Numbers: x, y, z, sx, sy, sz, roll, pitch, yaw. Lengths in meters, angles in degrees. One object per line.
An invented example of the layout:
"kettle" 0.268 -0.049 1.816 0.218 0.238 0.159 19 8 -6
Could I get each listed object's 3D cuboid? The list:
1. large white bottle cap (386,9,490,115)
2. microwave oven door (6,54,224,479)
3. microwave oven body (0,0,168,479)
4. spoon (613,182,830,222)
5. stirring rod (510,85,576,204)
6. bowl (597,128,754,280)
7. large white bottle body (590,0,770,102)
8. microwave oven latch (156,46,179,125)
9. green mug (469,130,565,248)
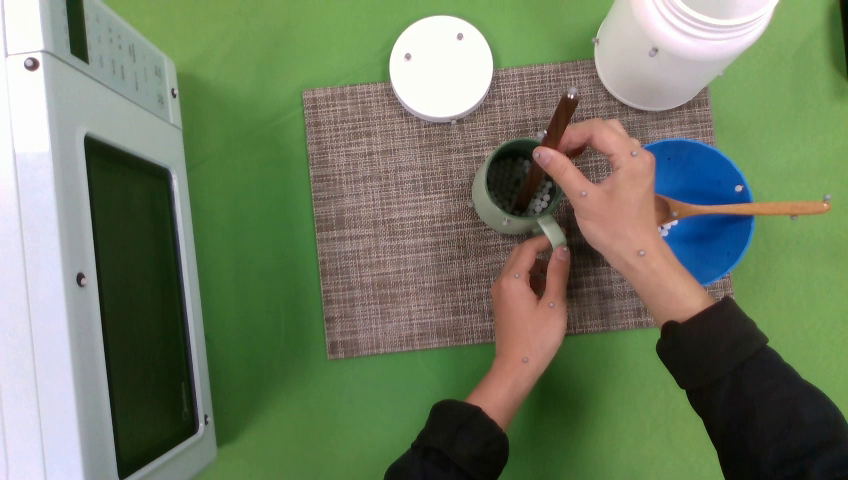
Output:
"large white bottle cap" 0.015 -0.196 0.668 0.115 0.018 0.114 0 87 1
"microwave oven door" -0.259 0.049 0.539 0.039 0.244 0.355 -8 88 1
"microwave oven body" -0.409 0.028 0.546 0.326 0.260 0.441 -8 88 0
"spoon" 0.289 -0.040 0.601 0.193 0.022 0.041 0 92 24
"stirring rod" 0.099 -0.074 0.522 0.014 0.177 0.006 15 65 2
"bowl" 0.247 -0.033 0.629 0.151 0.077 0.151 0 88 2
"large white bottle body" 0.244 -0.224 0.583 0.130 0.185 0.130 0 84 1
"microwave oven latch" -0.284 -0.163 0.647 0.030 0.029 0.079 -8 89 0
"green mug" 0.103 -0.048 0.619 0.092 0.105 0.125 -33 88 -1
